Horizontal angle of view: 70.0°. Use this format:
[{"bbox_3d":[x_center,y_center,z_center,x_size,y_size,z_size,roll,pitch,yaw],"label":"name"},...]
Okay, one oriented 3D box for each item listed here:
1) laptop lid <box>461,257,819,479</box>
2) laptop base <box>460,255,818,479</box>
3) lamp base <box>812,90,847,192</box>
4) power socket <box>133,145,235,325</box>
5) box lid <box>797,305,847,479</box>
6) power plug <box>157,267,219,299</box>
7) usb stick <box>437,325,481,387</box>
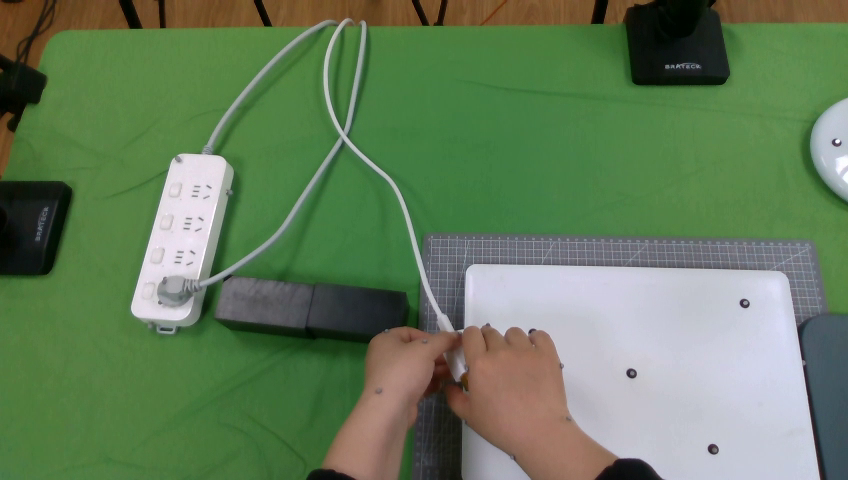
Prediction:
[{"bbox_3d":[0.216,0.132,0.634,0.356,0.013,0.240,3,72,4],"label":"laptop lid"},{"bbox_3d":[0.217,0.134,0.647,0.354,0.023,0.234,1,73,3],"label":"laptop base"},{"bbox_3d":[0.546,-0.150,0.650,0.160,0.181,0.179,34,72,14],"label":"lamp base"},{"bbox_3d":[-0.281,-0.013,0.718,0.072,0.033,0.225,5,69,4],"label":"power socket"},{"bbox_3d":[0.525,0.242,0.593,0.263,0.015,0.369,1,70,2],"label":"box lid"},{"bbox_3d":[-0.260,0.053,0.671,0.072,0.053,0.035,16,70,7],"label":"power plug"},{"bbox_3d":[0.036,0.113,0.585,0.027,0.021,0.058,7,50,-37],"label":"usb stick"}]
